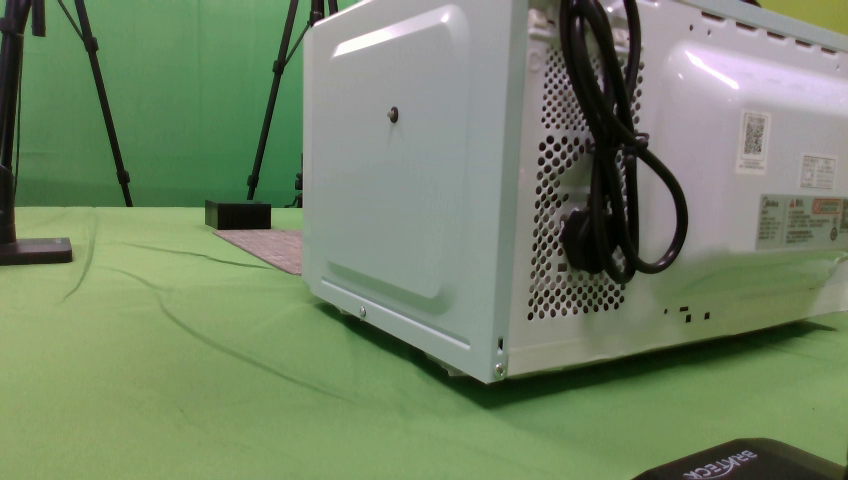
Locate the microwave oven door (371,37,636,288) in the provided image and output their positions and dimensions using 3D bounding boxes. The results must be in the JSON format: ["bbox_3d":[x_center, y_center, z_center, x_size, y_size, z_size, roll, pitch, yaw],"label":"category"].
[{"bbox_3d":[0.109,-0.080,0.686,0.358,0.243,0.039,-2,9,-33],"label":"microwave oven door"}]

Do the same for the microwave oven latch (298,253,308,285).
[{"bbox_3d":[-0.081,0.027,0.583,0.079,0.029,0.030,-2,8,-33],"label":"microwave oven latch"}]

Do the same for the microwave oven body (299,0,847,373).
[{"bbox_3d":[0.152,-0.056,0.542,0.444,0.260,0.324,-2,8,-32],"label":"microwave oven body"}]
